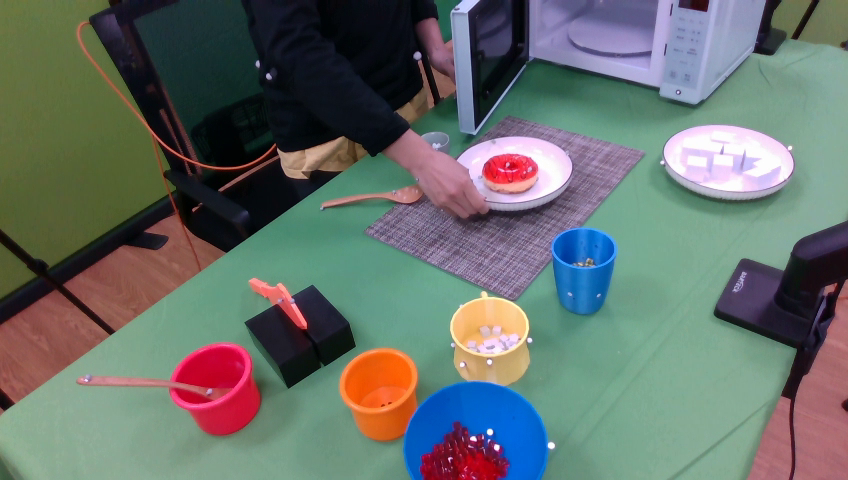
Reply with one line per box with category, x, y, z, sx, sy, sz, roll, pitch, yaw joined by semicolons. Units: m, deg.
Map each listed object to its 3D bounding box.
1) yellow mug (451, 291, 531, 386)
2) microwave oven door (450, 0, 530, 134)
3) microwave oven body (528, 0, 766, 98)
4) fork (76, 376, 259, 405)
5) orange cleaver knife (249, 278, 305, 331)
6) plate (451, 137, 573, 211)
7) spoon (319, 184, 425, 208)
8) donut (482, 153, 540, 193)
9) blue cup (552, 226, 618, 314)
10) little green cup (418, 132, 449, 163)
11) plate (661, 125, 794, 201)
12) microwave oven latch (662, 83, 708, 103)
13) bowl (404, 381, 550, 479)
yellow mug;0.085;0.120;0.786;0.100;0.064;0.130;-7;39;1
microwave oven door;0.146;-0.412;1.240;0.039;0.245;0.356;13;44;23
microwave oven body;0.472;-0.513;1.317;0.438;0.261;0.327;26;51;34
fork;-0.295;0.176;0.716;0.209;0.018;0.028;19;26;-36
orange cleaver knife;-0.210;0.088;0.856;0.012;0.077;0.210;-28;15;-25
plate;0.152;-0.110;1.046;0.209;0.038;0.208;-5;39;4
spoon;-0.094;-0.076;1.074;0.193;0.022;0.041;-5;56;5
donut;0.149;-0.116;1.035;0.099;0.048;0.098;-5;37;4
blue cup;0.218;0.047;0.826;0.092;0.101;0.092;-6;40;5
little green cup;0.019;-0.178;1.168;0.061;0.039;0.061;-3;40;3
plate;0.513;-0.128;1.035;0.207;0.039;0.206;-4;40;4
microwave oven latch;0.517;-0.296;1.204;0.078;0.029;0.030;27;52;35
bowl;0.058;0.235;0.645;0.151;0.077;0.150;-4;39;4
